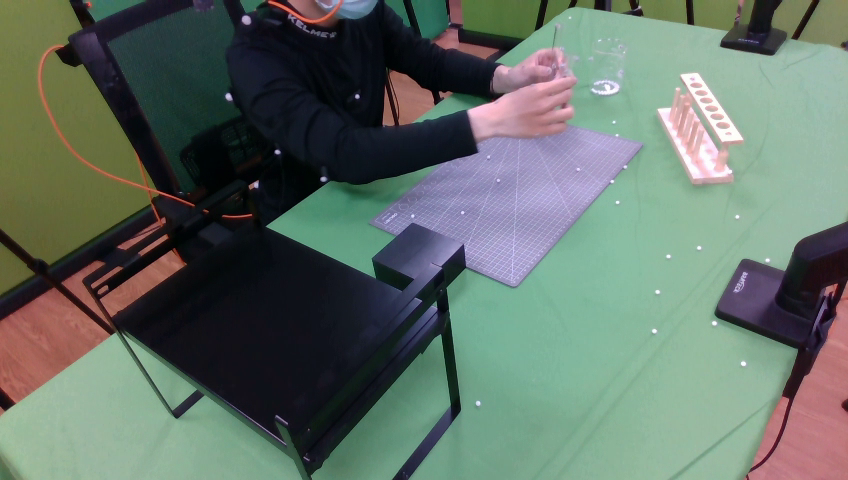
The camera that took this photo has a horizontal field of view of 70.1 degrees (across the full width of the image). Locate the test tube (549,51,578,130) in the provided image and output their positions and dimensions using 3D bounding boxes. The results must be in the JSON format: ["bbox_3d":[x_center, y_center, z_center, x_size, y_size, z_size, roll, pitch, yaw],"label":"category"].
[{"bbox_3d":[0.233,-0.248,1.019,0.017,0.150,0.017,3,48,-2],"label":"test tube"}]

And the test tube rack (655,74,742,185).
[{"bbox_3d":[0.488,-0.205,1.093,0.067,0.085,0.241,-3,41,5],"label":"test tube rack"}]

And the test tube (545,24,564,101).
[{"bbox_3d":[0.242,-0.327,1.127,0.017,0.151,0.017,0,43,0],"label":"test tube"}]

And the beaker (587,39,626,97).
[{"bbox_3d":[0.386,-0.361,1.280,0.074,0.101,0.083,-22,43,-15],"label":"beaker"}]
